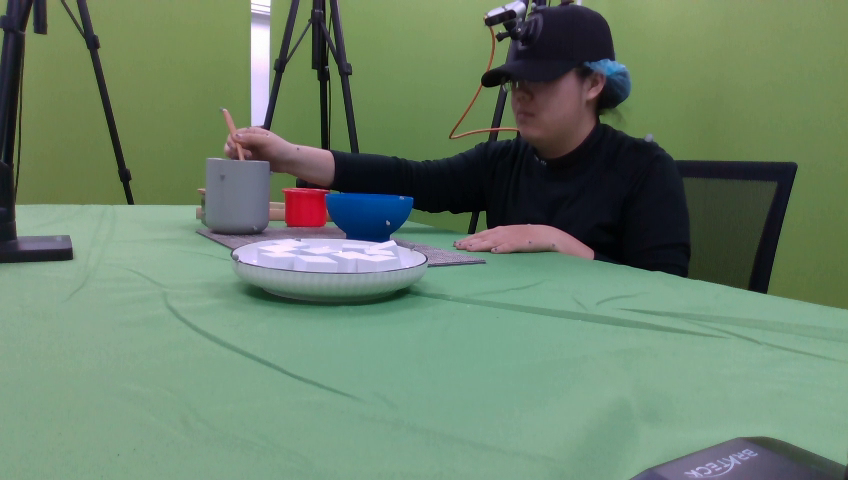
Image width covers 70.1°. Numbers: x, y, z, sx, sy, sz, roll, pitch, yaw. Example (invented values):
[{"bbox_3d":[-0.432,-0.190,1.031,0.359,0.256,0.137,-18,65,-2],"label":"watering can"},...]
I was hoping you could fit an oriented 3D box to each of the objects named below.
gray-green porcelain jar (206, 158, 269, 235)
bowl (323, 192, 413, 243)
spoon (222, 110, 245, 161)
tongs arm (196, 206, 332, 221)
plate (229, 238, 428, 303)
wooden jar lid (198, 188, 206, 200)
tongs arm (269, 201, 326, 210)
[{"bbox_3d":[-0.322,-0.076,1.048,0.106,0.126,0.106,3,7,0],"label":"gray-green porcelain jar"},{"bbox_3d":[-0.094,-0.037,1.015,0.151,0.077,0.151,3,7,0],"label":"bowl"},{"bbox_3d":[-0.321,-0.148,1.054,0.021,0.193,0.042,-30,-20,33],"label":"spoon"},{"bbox_3d":[-0.294,-0.057,1.330,0.389,0.028,0.028,0,5,-20],"label":"tongs arm"},{"bbox_3d":[-0.099,0.032,0.651,0.209,0.038,0.209,3,8,0],"label":"plate"},{"bbox_3d":[-0.382,-0.088,1.175,0.108,0.020,0.108,3,8,0],"label":"wooden jar lid"},{"bbox_3d":[-0.308,-0.073,1.410,0.385,0.026,0.050,3,8,-6],"label":"tongs arm"}]
